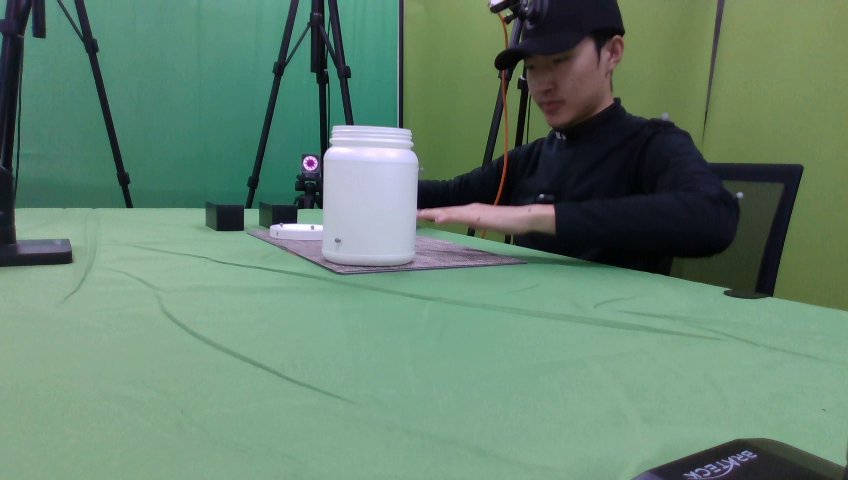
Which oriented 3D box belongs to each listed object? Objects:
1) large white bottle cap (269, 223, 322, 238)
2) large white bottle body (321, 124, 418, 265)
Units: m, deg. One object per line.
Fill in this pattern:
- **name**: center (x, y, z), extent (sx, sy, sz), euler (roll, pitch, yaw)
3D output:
- **large white bottle cap**: center (-0.218, -0.017, 1.084), extent (0.115, 0.018, 0.115), euler (2, 7, 0)
- **large white bottle body**: center (-0.075, -0.064, 0.836), extent (0.131, 0.184, 0.130), euler (2, 8, 0)
